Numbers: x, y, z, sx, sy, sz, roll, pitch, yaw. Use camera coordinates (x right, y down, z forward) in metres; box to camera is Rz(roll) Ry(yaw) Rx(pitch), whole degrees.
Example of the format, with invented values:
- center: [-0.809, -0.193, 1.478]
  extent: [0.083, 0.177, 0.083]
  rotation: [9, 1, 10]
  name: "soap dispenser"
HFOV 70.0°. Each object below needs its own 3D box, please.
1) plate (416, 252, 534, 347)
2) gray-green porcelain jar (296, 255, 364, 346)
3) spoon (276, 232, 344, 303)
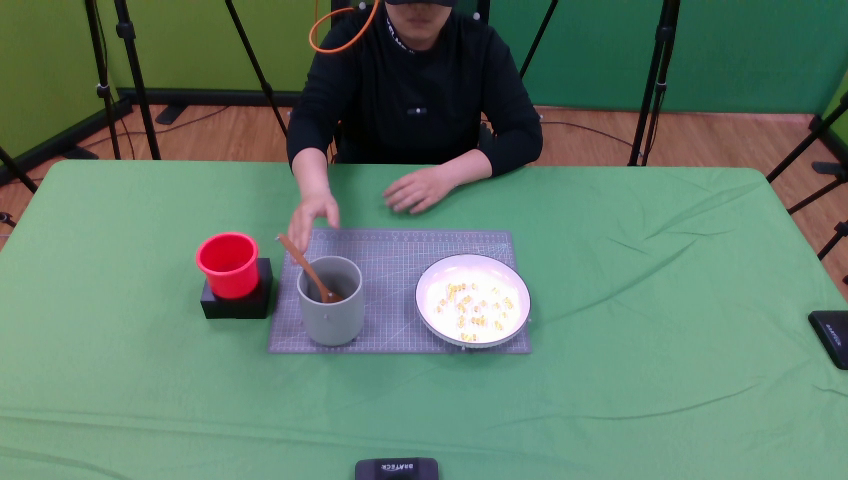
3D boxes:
- center: [0.090, 0.109, 1.084]
  extent: [0.208, 0.039, 0.206]
  rotation: [2, 46, -2]
  name: "plate"
- center: [-0.154, 0.106, 1.008]
  extent: [0.106, 0.127, 0.105]
  rotation: [2, 46, -2]
  name: "gray-green porcelain jar"
- center: [-0.180, 0.061, 0.989]
  extent: [0.021, 0.195, 0.041]
  rotation: [12, 50, 49]
  name: "spoon"
